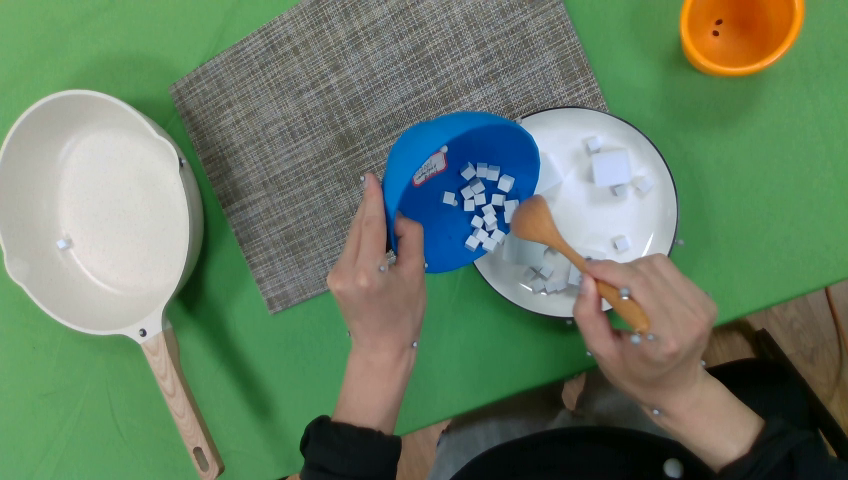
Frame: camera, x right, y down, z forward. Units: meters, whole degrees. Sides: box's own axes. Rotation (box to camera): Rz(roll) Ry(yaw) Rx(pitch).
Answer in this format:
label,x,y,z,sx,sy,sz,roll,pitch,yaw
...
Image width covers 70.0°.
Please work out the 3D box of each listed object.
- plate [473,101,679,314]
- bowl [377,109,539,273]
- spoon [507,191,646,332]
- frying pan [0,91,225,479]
label,x,y,z,sx,sy,sz,roll,pitch,yaw
plate,0.140,-0.031,0.601,0.207,0.039,0.208,3,102,16
bowl,0.016,-0.054,0.521,0.151,0.153,0.076,-55,51,17
spoon,0.109,0.010,0.452,0.022,0.191,0.041,28,104,-33
frying pan,-0.351,0.061,0.731,0.306,0.103,0.486,-28,82,20
